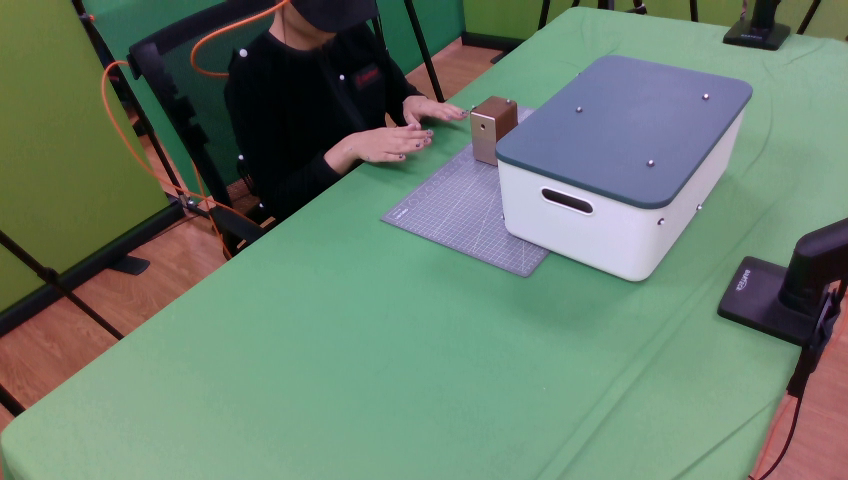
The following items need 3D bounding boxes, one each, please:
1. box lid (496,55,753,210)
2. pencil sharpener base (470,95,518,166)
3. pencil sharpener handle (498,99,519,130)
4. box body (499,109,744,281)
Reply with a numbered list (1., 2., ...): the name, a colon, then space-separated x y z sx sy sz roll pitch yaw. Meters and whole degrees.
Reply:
1. box lid: 0.308 -0.181 0.911 0.261 0.015 0.372 24 50 31
2. pencil sharpener base: 0.134 -0.205 1.128 0.061 0.107 0.077 23 50 33
3. pencil sharpener handle: 0.165 -0.243 1.148 0.035 0.068 0.031 21 49 35
4. box body: 0.315 -0.124 0.958 0.252 0.161 0.365 24 50 32
